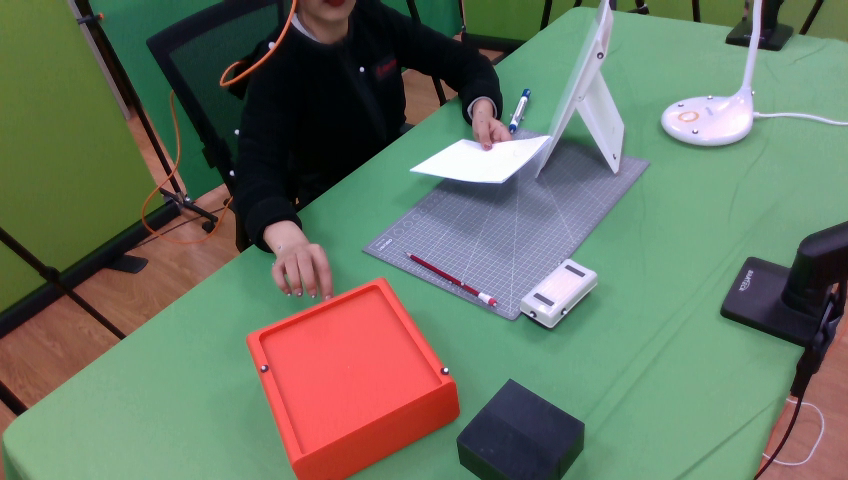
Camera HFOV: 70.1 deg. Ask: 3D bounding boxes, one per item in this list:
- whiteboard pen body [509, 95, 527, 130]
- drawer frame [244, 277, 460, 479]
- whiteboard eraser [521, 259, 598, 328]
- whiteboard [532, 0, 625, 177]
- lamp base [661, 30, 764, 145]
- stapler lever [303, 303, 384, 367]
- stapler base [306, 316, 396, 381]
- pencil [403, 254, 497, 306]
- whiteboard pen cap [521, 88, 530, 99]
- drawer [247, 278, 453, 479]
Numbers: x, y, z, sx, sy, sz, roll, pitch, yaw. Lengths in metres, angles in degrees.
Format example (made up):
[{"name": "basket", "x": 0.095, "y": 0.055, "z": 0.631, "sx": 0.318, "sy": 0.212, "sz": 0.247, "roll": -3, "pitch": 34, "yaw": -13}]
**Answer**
[{"name": "whiteboard pen body", "x": 0.199, "y": -0.272, "z": 1.262, "sx": 0.017, "sy": 0.017, "sz": 0.140, "roll": 7, "pitch": 44, "yaw": 18}, {"name": "drawer frame", "x": -0.093, "y": 0.167, "z": 0.755, "sx": 0.202, "sy": 0.083, "sz": 0.211, "roll": -23, "pitch": 43, "yaw": -17}, {"name": "whiteboard eraser", "x": 0.189, "y": 0.076, "z": 0.843, "sx": 0.055, "sy": 0.042, "sz": 0.113, "roll": 29, "pitch": 53, "yaw": 37}, {"name": "whiteboard", "x": 0.321, "y": -0.258, "z": 1.050, "sx": 0.144, "sy": 0.306, "sz": 0.217, "roll": 21, "pitch": 45, "yaw": 5}, {"name": "lamp base", "x": 0.535, "y": -0.287, "z": 1.096, "sx": 0.179, "sy": 0.181, "sz": 0.159, "roll": -10, "pitch": 40, "yaw": -4}, {"name": "stapler lever", "x": -0.108, "y": 0.124, "z": 0.805, "sx": 0.118, "sy": 0.040, "sz": 0.026, "roll": -27, "pitch": 36, "yaw": -15}, {"name": "stapler base", "x": -0.101, "y": 0.139, "z": 0.818, "sx": 0.131, "sy": 0.024, "sz": 0.041, "roll": -31, "pitch": 37, "yaw": -13}, {"name": "pencil", "x": 0.034, "y": 0.057, "z": 0.914, "sx": 0.192, "sy": 0.012, "sz": 0.012, "roll": 26, "pitch": 52, "yaw": 38}, {"name": "whiteboard pen cap", "x": 0.218, "y": -0.312, "z": 1.301, "sx": 0.018, "sy": 0.018, "sz": 0.033, "roll": 6, "pitch": 47, "yaw": 17}, {"name": "drawer", "x": -0.096, "y": 0.166, "z": 0.757, "sx": 0.195, "sy": 0.073, "sz": 0.210, "roll": -22, "pitch": 42, "yaw": -16}]
